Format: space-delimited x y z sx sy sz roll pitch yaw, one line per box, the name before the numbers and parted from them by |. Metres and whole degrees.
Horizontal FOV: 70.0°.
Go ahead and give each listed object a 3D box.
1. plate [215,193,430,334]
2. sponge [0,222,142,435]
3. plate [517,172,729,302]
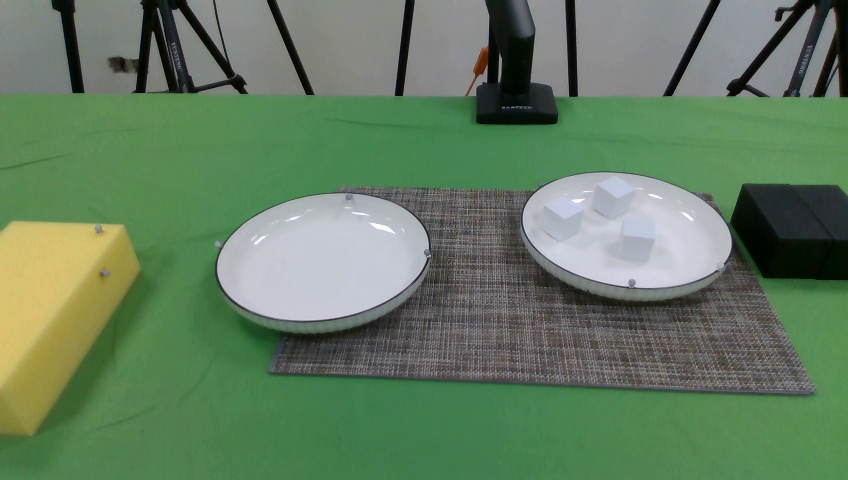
plate | -0.097 0.023 0.604 0.209 0.038 0.207 -1 37 1
sponge | -0.357 0.068 0.538 0.118 0.061 0.205 1 37 2
plate | 0.200 -0.002 0.629 0.208 0.039 0.205 -1 37 1
